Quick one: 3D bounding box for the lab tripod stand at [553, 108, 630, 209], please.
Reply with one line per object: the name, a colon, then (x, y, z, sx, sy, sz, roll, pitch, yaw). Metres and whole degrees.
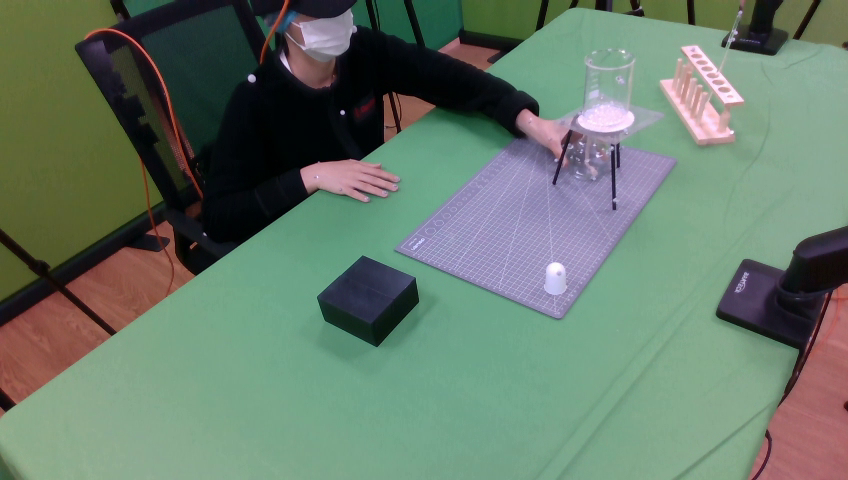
lab tripod stand: (0.292, -0.144, 1.010, 0.148, 0.132, 0.147, -5, 38, 4)

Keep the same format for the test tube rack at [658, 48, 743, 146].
test tube rack: (0.532, -0.284, 1.180, 0.067, 0.085, 0.241, -5, 40, 4)

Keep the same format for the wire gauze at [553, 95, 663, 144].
wire gauze: (0.293, -0.191, 0.964, 0.125, 0.011, 0.120, -29, 45, -29)

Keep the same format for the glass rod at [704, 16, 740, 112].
glass rod: (0.549, -0.319, 1.117, 0.008, 0.200, 0.008, -2, 47, 3)

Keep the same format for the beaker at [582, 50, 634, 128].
beaker: (0.285, -0.234, 0.939, 0.084, 0.101, 0.073, -28, 43, -23)

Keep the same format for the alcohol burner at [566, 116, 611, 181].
alcohol burner: (0.287, -0.162, 1.049, 0.078, 0.119, 0.077, -3, 40, 3)

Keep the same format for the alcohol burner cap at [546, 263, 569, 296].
alcohol burner cap: (0.191, 0.053, 0.862, 0.034, 0.048, 0.033, -5, 40, 4)
